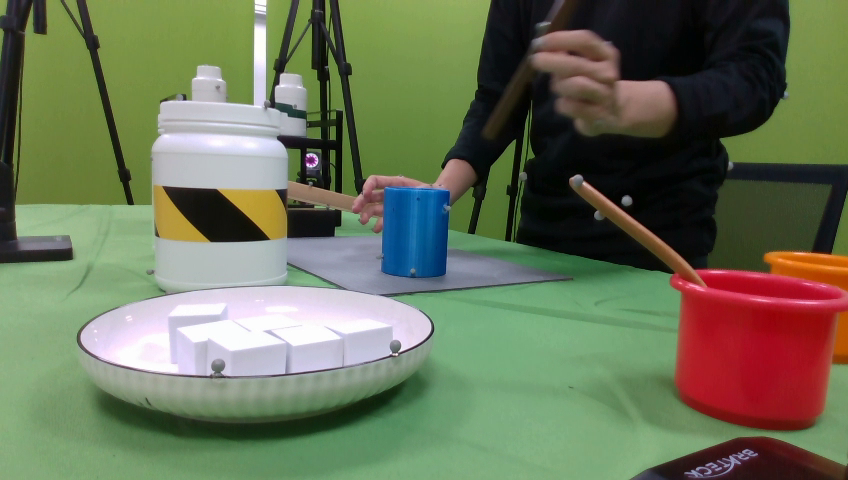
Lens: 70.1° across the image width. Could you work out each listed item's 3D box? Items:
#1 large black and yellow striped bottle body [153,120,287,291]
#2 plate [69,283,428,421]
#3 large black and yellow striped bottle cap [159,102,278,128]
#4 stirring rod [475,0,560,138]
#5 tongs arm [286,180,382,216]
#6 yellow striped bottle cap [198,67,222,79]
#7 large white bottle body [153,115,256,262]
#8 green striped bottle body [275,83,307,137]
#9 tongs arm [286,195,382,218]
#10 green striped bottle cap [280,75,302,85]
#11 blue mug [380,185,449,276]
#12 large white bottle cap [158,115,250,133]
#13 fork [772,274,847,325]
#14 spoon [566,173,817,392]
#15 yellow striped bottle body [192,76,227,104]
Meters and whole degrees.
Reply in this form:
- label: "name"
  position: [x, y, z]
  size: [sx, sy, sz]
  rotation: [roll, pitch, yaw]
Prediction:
- label: "large black and yellow striped bottle body"
  position: [-0.208, -0.042, 0.626]
  size: [0.131, 0.184, 0.130]
  rotation: [2, 7, 0]
- label: "plate"
  position: [-0.102, 0.066, 0.381]
  size: [0.208, 0.039, 0.207]
  rotation: [2, 7, 0]
- label: "large black and yellow striped bottle cap"
  position: [-0.207, -0.125, 0.615]
  size: [0.115, 0.019, 0.115]
  rotation: [2, 6, 0]
- label: "stirring rod"
  position: [0.093, -0.174, 0.612]
  size: [0.014, 0.176, 0.006]
  rotation: [20, 40, -10]
- label: "tongs arm"
  position: [-0.122, -0.066, 1.147]
  size: [0.387, 0.026, 0.050]
  rotation: [11, -2, -37]
- label: "yellow striped bottle cap"
  position: [-0.412, -0.320, 1.162]
  size: [0.044, 0.018, 0.044]
  rotation: [0, 5, 0]
- label: "large white bottle body"
  position: [-0.293, -0.070, 0.813]
  size: [0.131, 0.184, 0.130]
  rotation: [2, 7, 0]
- label: "green striped bottle body"
  position: [-0.269, -0.269, 1.221]
  size: [0.063, 0.119, 0.063]
  rotation: [2, 7, 0]
- label: "tongs arm"
  position: [-0.165, -0.075, 1.216]
  size: [0.389, 0.027, 0.028]
  rotation: [11, -6, -24]
- label: "green striped bottle cap"
  position: [-0.267, -0.320, 1.216]
  size: [0.044, 0.020, 0.044]
  rotation: [2, 8, 0]
- label: "blue mug"
  position: [-0.018, -0.016, 0.764]
  size: [0.083, 0.106, 0.116]
  rotation: [-2, 8, -25]
- label: "large white bottle cap"
  position: [-0.291, -0.153, 0.803]
  size: [0.115, 0.018, 0.115]
  rotation: [1, 7, 0]
- label: "fork"
  position: [0.332, 0.018, 0.444]
  size: [0.028, 0.018, 0.207]
  rotation: [0, -36, -14]
- label: "spoon"
  position: [0.161, 0.024, 0.370]
  size: [0.193, 0.021, 0.042]
  rotation: [47, 17, 3]
- label: "yellow striped bottle body"
  position: [-0.414, -0.268, 1.169]
  size: [0.063, 0.120, 0.063]
  rotation: [2, 7, 0]
